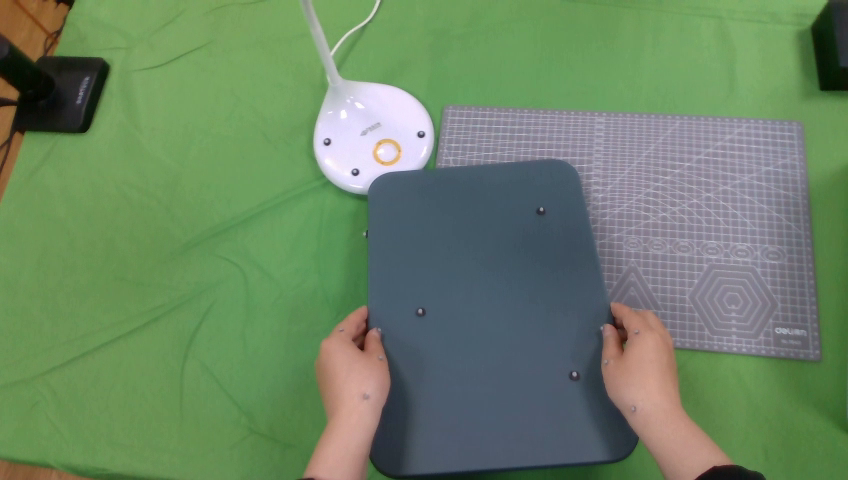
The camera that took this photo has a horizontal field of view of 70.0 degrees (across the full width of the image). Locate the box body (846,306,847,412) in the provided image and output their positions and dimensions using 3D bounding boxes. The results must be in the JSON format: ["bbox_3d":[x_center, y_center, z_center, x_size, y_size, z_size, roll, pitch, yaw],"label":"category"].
[{"bbox_3d":[0.579,0.034,0.588,0.253,0.161,0.362,10,72,10],"label":"box body"}]

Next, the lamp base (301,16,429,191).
[{"bbox_3d":[-0.090,-0.172,0.729,0.160,0.181,0.178,-43,69,-9],"label":"lamp base"}]

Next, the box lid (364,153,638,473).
[{"bbox_3d":[0.066,0.054,0.665,0.263,0.015,0.368,-5,58,1],"label":"box lid"}]
